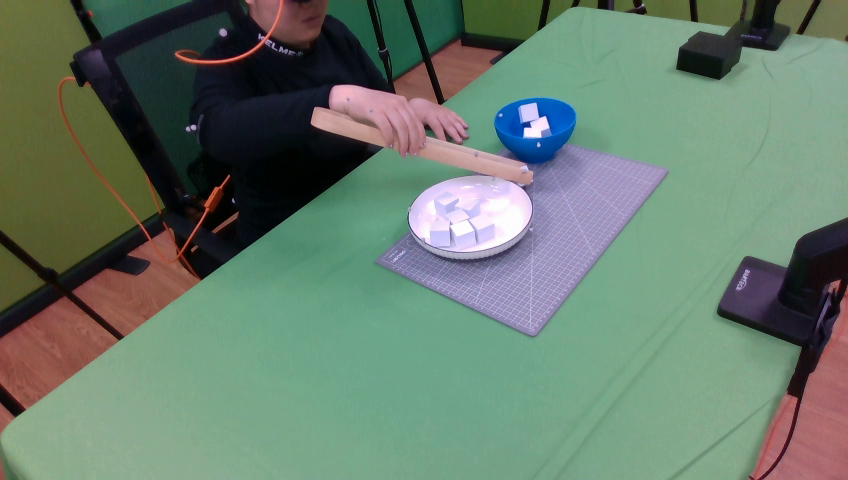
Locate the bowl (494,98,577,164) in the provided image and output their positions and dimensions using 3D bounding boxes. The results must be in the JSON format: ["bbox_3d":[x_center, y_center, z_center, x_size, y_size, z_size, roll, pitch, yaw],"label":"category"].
[{"bbox_3d":[0.207,-0.196,1.128,0.151,0.077,0.150,-5,40,5],"label":"bowl"}]

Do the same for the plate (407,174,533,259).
[{"bbox_3d":[0.076,-0.036,0.997,0.207,0.039,0.206,-5,40,5],"label":"plate"}]

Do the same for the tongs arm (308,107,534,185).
[{"bbox_3d":[0.007,-0.149,0.982,0.388,0.026,0.050,11,17,-25],"label":"tongs arm"}]

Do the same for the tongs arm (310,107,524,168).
[{"bbox_3d":[-0.001,-0.158,1.007,0.390,0.028,0.028,12,20,-22],"label":"tongs arm"}]
